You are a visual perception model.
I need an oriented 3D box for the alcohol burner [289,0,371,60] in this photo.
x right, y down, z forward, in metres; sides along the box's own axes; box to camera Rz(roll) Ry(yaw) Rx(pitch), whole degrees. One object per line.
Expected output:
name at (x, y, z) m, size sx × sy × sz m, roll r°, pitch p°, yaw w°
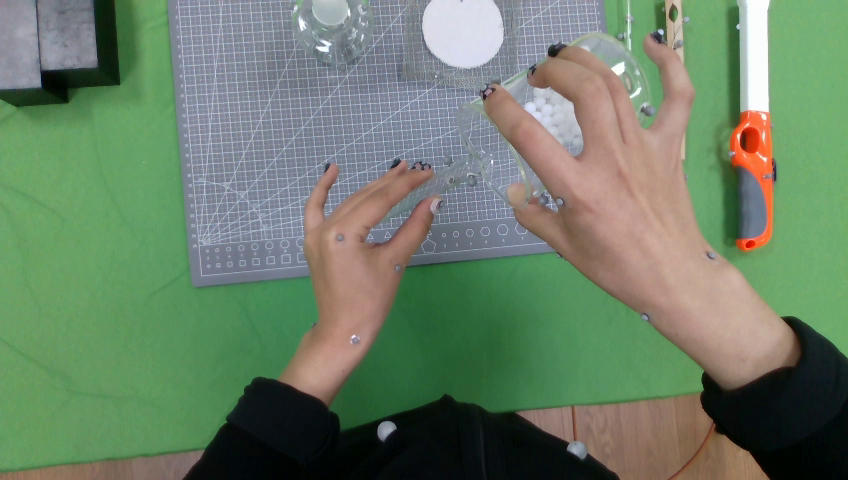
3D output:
alcohol burner at (-0.089, -0.214, 0.566) m, size 0.078 × 0.119 × 0.078 m, roll 0°, pitch 88°, yaw -3°

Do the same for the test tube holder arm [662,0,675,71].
test tube holder arm at (0.264, -0.227, 0.654) m, size 0.010 × 0.015 × 0.087 m, roll -4°, pitch 89°, yaw 30°

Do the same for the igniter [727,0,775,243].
igniter at (0.352, -0.135, 0.653) m, size 0.057 × 0.025 × 0.276 m, roll 2°, pitch 88°, yaw -16°

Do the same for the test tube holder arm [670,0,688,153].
test tube holder arm at (0.272, -0.182, 0.650) m, size 0.013 × 0.015 × 0.178 m, roll -6°, pitch 88°, yaw 30°

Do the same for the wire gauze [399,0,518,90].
wire gauze at (0.038, -0.225, 0.632) m, size 0.125 × 0.011 × 0.121 m, roll 6°, pitch 88°, yaw -6°

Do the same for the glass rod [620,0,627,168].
glass rod at (0.215, -0.177, 0.650) m, size 0.008 × 0.008 × 0.199 m, roll 0°, pitch 90°, yaw -6°

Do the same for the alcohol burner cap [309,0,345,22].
alcohol burner cap at (-0.086, -0.218, 0.530) m, size 0.034 × 0.048 × 0.033 m, roll 1°, pitch 81°, yaw -6°

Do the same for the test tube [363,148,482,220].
test tube at (-0.007, -0.040, 0.470) m, size 0.017 × 0.150 × 0.017 m, roll 10°, pitch 71°, yaw -33°

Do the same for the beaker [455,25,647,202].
beaker at (0.080, -0.080, 0.381) m, size 0.100 × 0.083 × 0.074 m, roll -33°, pitch 97°, yaw -9°
